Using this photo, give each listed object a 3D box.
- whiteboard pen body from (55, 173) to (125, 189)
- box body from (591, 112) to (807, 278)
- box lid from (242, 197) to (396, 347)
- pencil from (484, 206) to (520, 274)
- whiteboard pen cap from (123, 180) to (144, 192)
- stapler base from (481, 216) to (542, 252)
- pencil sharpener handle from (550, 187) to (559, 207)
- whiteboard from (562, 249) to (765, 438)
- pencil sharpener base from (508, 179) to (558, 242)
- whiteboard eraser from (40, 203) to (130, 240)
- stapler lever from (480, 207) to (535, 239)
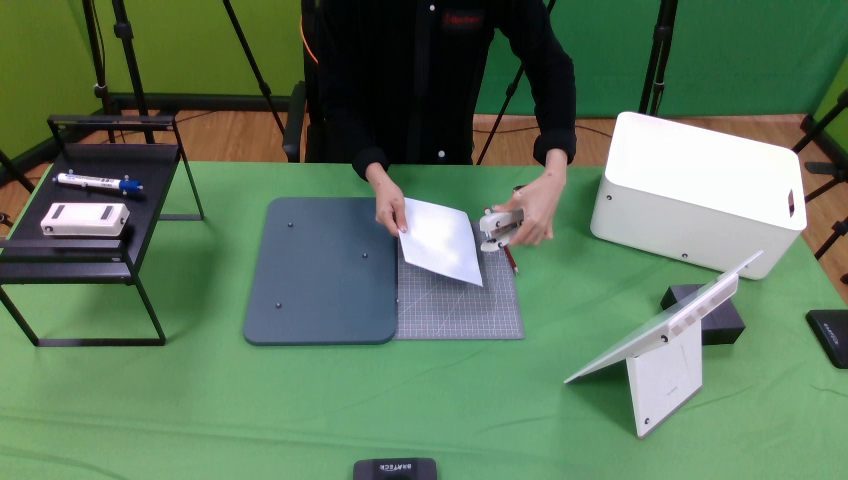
[{"bbox_3d":[-0.539,-0.095,0.998,0.141,0.017,0.017,6,46,6],"label":"whiteboard pen body"},{"bbox_3d":[0.540,-0.092,1.229,0.363,0.161,0.253,16,47,11],"label":"box body"},{"bbox_3d":[-0.186,0.046,1.147,0.263,0.015,0.369,0,46,-3],"label":"box lid"},{"bbox_3d":[0.157,-0.002,1.218,0.012,0.012,0.192,-10,48,-13],"label":"pencil"},{"bbox_3d":[-0.479,-0.089,0.993,0.033,0.018,0.018,7,46,14],"label":"whiteboard pen cap"},{"bbox_3d":[0.154,-0.016,1.088,0.130,0.024,0.041,-28,23,-31],"label":"stapler base"},{"bbox_3d":[0.261,-0.084,1.221,0.031,0.068,0.036,-16,65,-19],"label":"pencil sharpener handle"},{"bbox_3d":[0.386,0.175,0.905,0.217,0.306,0.143,-26,72,-26],"label":"whiteboard"},{"bbox_3d":[0.216,-0.059,1.211,0.077,0.107,0.061,-16,49,-19],"label":"pencil sharpener base"},{"bbox_3d":[-0.513,-0.028,0.922,0.113,0.042,0.055,1,48,-3],"label":"whiteboard eraser"},{"bbox_3d":[0.148,-0.039,1.081,0.118,0.040,0.026,-29,23,-31],"label":"stapler lever"}]
